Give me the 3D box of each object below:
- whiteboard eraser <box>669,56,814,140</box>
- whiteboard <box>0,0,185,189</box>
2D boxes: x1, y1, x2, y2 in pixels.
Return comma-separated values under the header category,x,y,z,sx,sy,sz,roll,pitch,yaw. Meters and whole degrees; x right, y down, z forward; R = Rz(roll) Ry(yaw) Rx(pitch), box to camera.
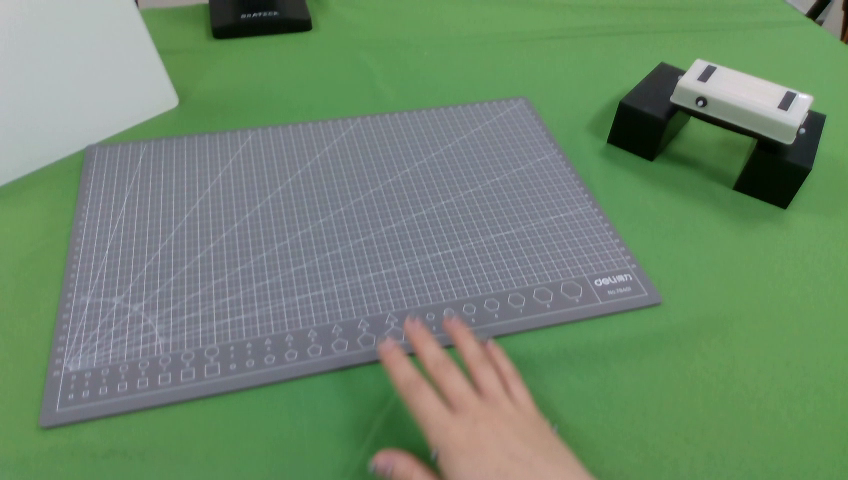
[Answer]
category,x,y,z,sx,sy,sz,roll,pitch,yaw
whiteboard eraser,0.291,-0.129,0.559,0.112,0.042,0.055,28,53,24
whiteboard,-0.402,-0.227,0.539,0.142,0.308,0.217,20,46,42
